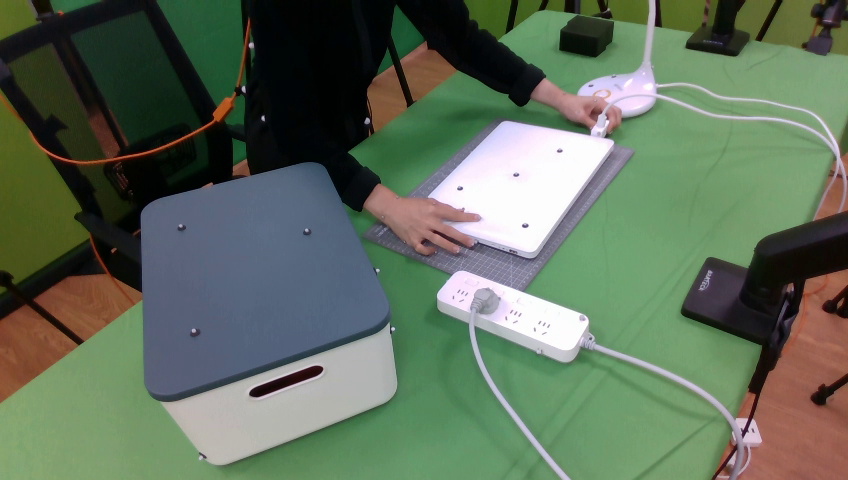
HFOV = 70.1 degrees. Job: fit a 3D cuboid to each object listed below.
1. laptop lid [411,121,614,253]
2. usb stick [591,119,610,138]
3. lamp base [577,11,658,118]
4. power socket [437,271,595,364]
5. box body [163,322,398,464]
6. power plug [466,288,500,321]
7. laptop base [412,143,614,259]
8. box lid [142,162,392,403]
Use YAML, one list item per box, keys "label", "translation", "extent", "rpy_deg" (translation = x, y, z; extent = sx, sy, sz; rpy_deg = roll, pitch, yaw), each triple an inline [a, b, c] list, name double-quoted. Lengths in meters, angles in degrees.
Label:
- label: "laptop lid"
  translation: [0.163, -0.112, 1.069]
  extent: [0.240, 0.013, 0.357]
  rpy_deg: [18, 46, 31]
- label: "usb stick"
  translation: [0.333, -0.205, 1.151]
  extent: [0.021, 0.027, 0.059]
  rpy_deg: [22, 52, 21]
- label: "lamp base"
  translation: [0.406, -0.363, 1.223]
  extent: [0.180, 0.181, 0.159]
  rpy_deg: [-20, 42, -18]
- label: "power socket"
  translation: [0.118, 0.102, 0.830]
  extent: [0.225, 0.033, 0.072]
  rpy_deg: [20, 48, 28]
- label: "box body"
  translation: [-0.205, 0.080, 0.802]
  extent: [0.255, 0.161, 0.361]
  rpy_deg: [-18, 41, -13]
- label: "power plug"
  translation: [0.072, 0.093, 0.813]
  extent: [0.035, 0.053, 0.073]
  rpy_deg: [30, 55, 36]
- label: "laptop base"
  translation: [0.167, -0.102, 1.076]
  extent: [0.234, 0.023, 0.355]
  rpy_deg: [17, 46, 30]
- label: "box lid"
  translation: [-0.212, 0.024, 0.752]
  extent: [0.264, 0.015, 0.368]
  rpy_deg: [-17, 41, -13]
